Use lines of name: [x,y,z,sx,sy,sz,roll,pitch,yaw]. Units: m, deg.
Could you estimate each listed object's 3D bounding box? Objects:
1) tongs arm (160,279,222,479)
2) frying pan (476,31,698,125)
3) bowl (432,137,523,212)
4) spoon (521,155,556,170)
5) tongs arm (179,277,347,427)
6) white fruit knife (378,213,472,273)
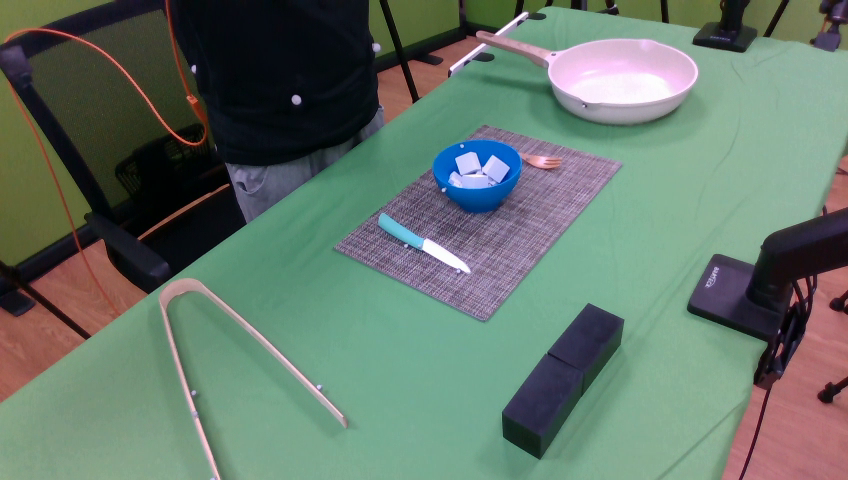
tongs arm: [-0.297,0.174,0.797,0.051,0.026,0.381,-25,43,-21]
frying pan: [0.320,-0.371,1.290,0.484,0.103,0.307,29,51,24]
bowl: [0.091,-0.100,1.022,0.151,0.077,0.150,-4,41,4]
spoon: [0.156,-0.161,1.126,0.192,0.022,0.042,25,36,29]
tongs arm: [-0.231,0.141,0.832,0.384,0.028,0.028,30,55,35]
white fruit knife: [-0.004,0.005,0.961,0.205,0.016,0.027,29,62,34]
